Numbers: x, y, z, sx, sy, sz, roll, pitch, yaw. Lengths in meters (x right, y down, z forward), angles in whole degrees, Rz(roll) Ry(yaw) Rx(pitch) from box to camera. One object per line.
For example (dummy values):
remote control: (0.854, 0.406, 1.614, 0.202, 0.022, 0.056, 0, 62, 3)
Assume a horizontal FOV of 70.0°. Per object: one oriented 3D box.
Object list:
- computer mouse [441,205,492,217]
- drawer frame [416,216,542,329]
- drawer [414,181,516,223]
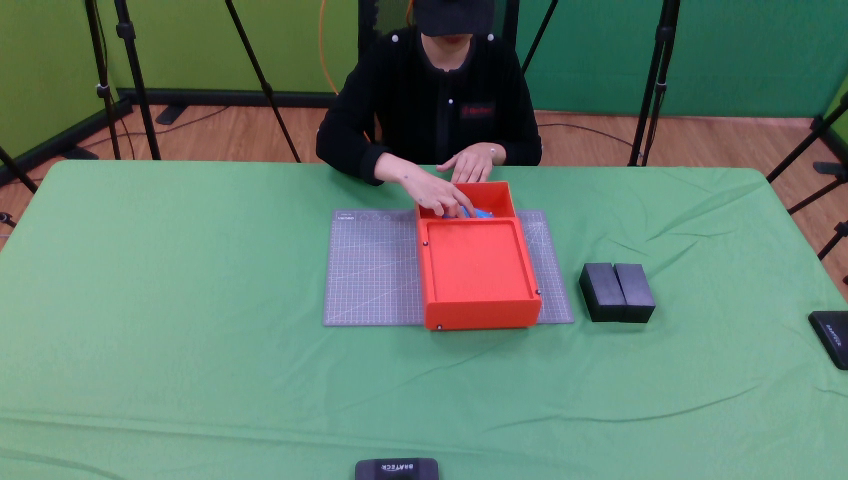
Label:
computer mouse: (0.093, -0.038, 1.213, 0.117, 0.041, 0.062, 8, 38, -12)
drawer frame: (0.092, 0.053, 1.104, 0.202, 0.083, 0.212, -1, 45, -6)
drawer: (0.084, -0.025, 1.187, 0.195, 0.073, 0.210, -1, 45, -6)
